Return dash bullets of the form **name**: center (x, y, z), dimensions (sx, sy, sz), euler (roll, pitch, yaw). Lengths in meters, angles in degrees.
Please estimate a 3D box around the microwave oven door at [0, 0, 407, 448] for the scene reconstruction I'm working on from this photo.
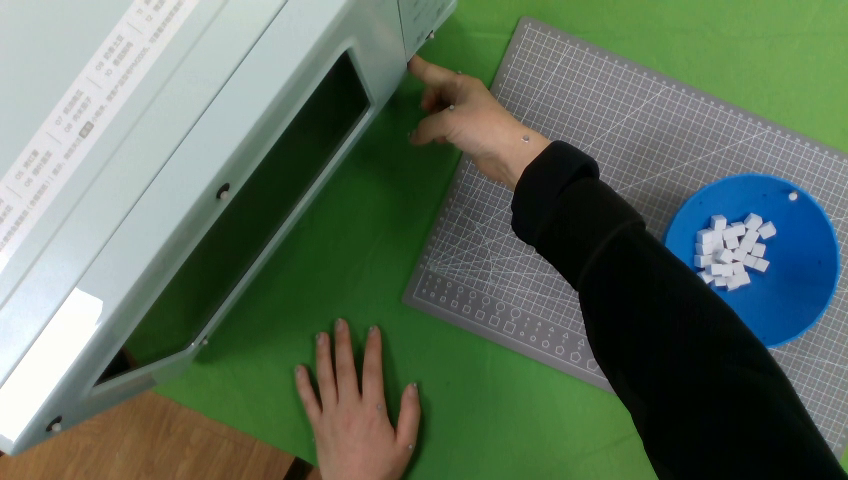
- **microwave oven door**: center (-0.138, -0.030, 0.451), dimensions (0.039, 0.244, 0.355), euler (37, 91, 1)

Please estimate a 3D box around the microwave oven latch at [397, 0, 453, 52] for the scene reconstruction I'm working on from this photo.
- **microwave oven latch**: center (-0.003, -0.208, 0.549), dimensions (0.030, 0.029, 0.079), euler (44, 91, -1)

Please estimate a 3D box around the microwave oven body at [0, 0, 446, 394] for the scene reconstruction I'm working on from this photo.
- **microwave oven body**: center (-0.229, -0.153, 0.454), dimensions (0.326, 0.260, 0.441), euler (37, 91, -1)

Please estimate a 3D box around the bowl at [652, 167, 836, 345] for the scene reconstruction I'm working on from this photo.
- **bowl**: center (0.272, 0.014, 0.547), dimensions (0.151, 0.077, 0.151), euler (0, 91, 1)
